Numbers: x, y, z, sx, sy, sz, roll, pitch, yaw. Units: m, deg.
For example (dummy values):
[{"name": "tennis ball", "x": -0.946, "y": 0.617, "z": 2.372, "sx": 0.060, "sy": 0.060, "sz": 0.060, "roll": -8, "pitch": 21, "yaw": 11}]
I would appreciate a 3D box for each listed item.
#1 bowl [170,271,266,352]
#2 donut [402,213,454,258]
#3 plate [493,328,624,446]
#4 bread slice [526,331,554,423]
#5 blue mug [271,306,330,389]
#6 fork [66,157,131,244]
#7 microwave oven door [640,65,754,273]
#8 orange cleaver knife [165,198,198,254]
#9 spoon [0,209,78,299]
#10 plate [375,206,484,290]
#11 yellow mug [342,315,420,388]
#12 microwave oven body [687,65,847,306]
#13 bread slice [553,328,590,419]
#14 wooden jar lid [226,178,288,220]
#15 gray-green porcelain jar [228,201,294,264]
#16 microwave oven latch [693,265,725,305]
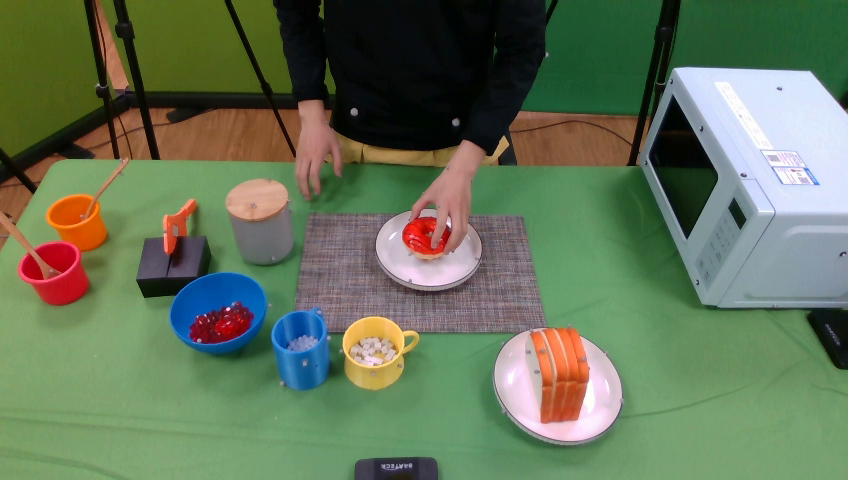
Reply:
[{"name": "bowl", "x": -0.333, "y": 0.132, "z": 1.006, "sx": 0.151, "sy": 0.077, "sz": 0.150, "roll": 2, "pitch": 46, "yaw": -2}, {"name": "donut", "x": 0.008, "y": -0.009, "z": 1.132, "sx": 0.099, "sy": 0.048, "sz": 0.098, "roll": 4, "pitch": 48, "yaw": -4}, {"name": "plate", "x": 0.213, "y": 0.236, "z": 0.974, "sx": 0.208, "sy": 0.039, "sz": 0.206, "roll": 2, "pitch": 46, "yaw": -2}, {"name": "bread slice", "x": 0.176, "y": 0.202, "z": 0.929, "sx": 0.019, "sy": 0.132, "sz": 0.104, "roll": -9, "pitch": 45, "yaw": -1}, {"name": "blue mug", "x": -0.188, "y": 0.163, "z": 0.969, "sx": 0.082, "sy": 0.106, "sz": 0.116, "roll": 15, "pitch": 47, "yaw": 10}, {"name": "fork", "x": -0.608, "y": -0.074, "z": 1.132, "sx": 0.207, "sy": 0.019, "sz": 0.028, "roll": -52, "pitch": 48, "yaw": 10}, {"name": "microwave oven door", "x": 0.523, "y": -0.147, "z": 1.193, "sx": 0.039, "sy": 0.245, "sz": 0.353, "roll": 0, "pitch": 47, "yaw": -3}, {"name": "orange cleaver knife", "x": -0.458, "y": -0.031, "z": 1.149, "sx": 0.012, "sy": 0.077, "sz": 0.210, "roll": -2, "pitch": 17, "yaw": -6}, {"name": "spoon", "x": -0.668, "y": 0.021, "z": 1.040, "sx": 0.041, "sy": 0.021, "sz": 0.194, "roll": -41, "pitch": 105, "yaw": -29}, {"name": "plate", "x": 0.009, "y": 0.019, "z": 1.161, "sx": 0.209, "sy": 0.038, "sz": 0.208, "roll": 2, "pitch": 46, "yaw": -2}, {"name": "yellow mug", "x": -0.068, "y": 0.177, "z": 0.991, "sx": 0.131, "sy": 0.064, "sz": 0.099, "roll": -15, "pitch": 50, "yaw": -19}, {"name": "microwave oven body", "x": 0.669, "y": -0.111, "z": 1.176, "sx": 0.326, "sy": 0.261, "sz": 0.439, "roll": 0, "pitch": 46, "yaw": -3}, {"name": "bread slice", "x": 0.226, "y": 0.201, "z": 0.932, "sx": 0.018, "sy": 0.135, "sz": 0.106, "roll": -4, "pitch": 51, "yaw": -4}, {"name": "wooden jar lid", "x": -0.296, "y": -0.070, "z": 1.081, "sx": 0.108, "sy": 0.021, "sz": 0.107, "roll": 1, "pitch": 45, "yaw": -1}, {"name": "gray-green porcelain jar", "x": -0.299, "y": -0.027, "z": 1.126, "sx": 0.106, "sy": 0.127, "sz": 0.105, "roll": 2, "pitch": 46, "yaw": -2}, {"name": "microwave oven latch", "x": 0.522, "y": 0.081, "z": 1.115, "sx": 0.030, "sy": 0.029, "sz": 0.078, "roll": 2, "pitch": 46, "yaw": -1}]
